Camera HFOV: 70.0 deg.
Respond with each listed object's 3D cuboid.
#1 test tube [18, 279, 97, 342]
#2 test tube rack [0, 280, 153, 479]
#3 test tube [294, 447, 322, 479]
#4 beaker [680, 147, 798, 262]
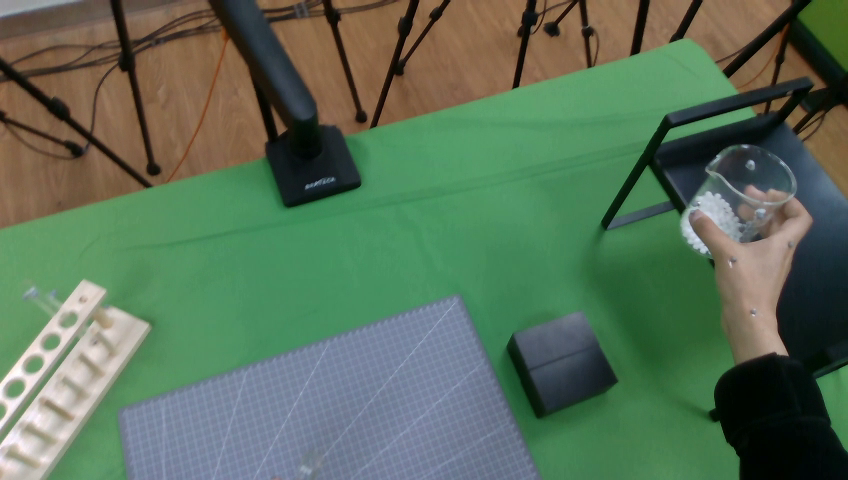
[{"bbox_3d":[-0.413,0.084,0.691,0.017,0.151,0.017,0,59,0],"label":"test tube"},{"bbox_3d":[-0.427,0.174,0.697,0.066,0.086,0.241,23,62,9],"label":"test tube rack"},{"bbox_3d":[-0.102,0.207,0.497,0.017,0.151,0.017,11,46,-11],"label":"test tube"},{"bbox_3d":[0.307,-0.032,0.607,0.084,0.101,0.073,10,53,3],"label":"beaker"}]
